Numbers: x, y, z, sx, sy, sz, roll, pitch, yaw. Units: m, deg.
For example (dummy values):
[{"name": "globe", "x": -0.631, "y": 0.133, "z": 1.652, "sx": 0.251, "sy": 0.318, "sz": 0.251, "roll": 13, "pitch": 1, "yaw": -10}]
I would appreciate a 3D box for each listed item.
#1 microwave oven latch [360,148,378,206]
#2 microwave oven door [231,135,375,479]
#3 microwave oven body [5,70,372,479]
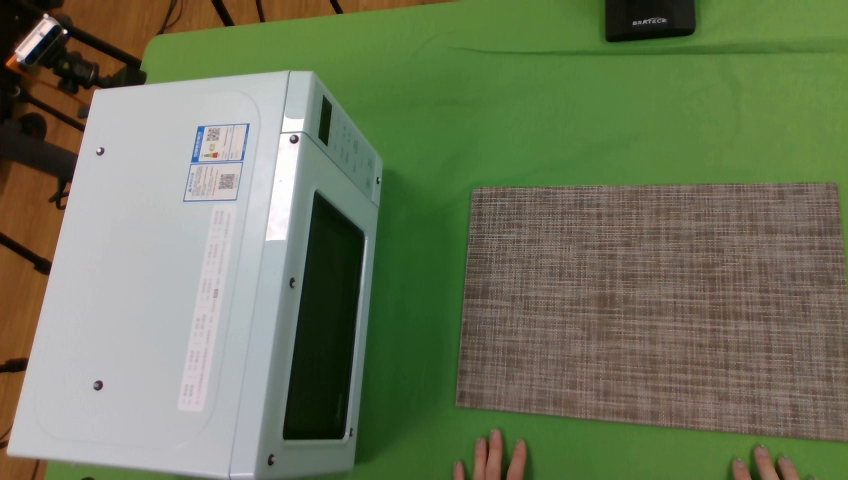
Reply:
[{"name": "microwave oven latch", "x": -0.083, "y": -0.090, "z": 0.866, "sx": 0.030, "sy": 0.030, "sz": 0.078, "roll": 0, "pitch": 74, "yaw": 15}, {"name": "microwave oven door", "x": -0.127, "y": 0.089, "z": 0.713, "sx": 0.039, "sy": 0.246, "sz": 0.353, "roll": -1, "pitch": 73, "yaw": 16}, {"name": "microwave oven body", "x": -0.263, "y": 0.053, "z": 0.768, "sx": 0.325, "sy": 0.262, "sz": 0.439, "roll": -1, "pitch": 74, "yaw": 15}]
